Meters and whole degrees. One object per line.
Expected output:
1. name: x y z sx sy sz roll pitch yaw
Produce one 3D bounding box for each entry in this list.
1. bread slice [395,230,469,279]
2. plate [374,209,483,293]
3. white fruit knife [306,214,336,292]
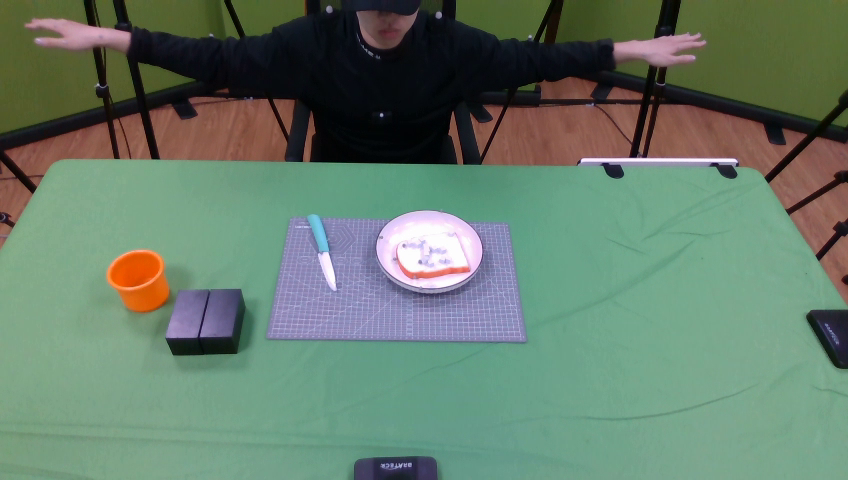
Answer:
1. bread slice: 0.011 0.029 1.158 0.132 0.019 0.104 -9 48 -14
2. plate: 0.009 0.024 1.160 0.209 0.038 0.208 2 46 -2
3. white fruit knife: -0.195 0.021 1.164 0.027 0.016 0.206 -30 51 8
